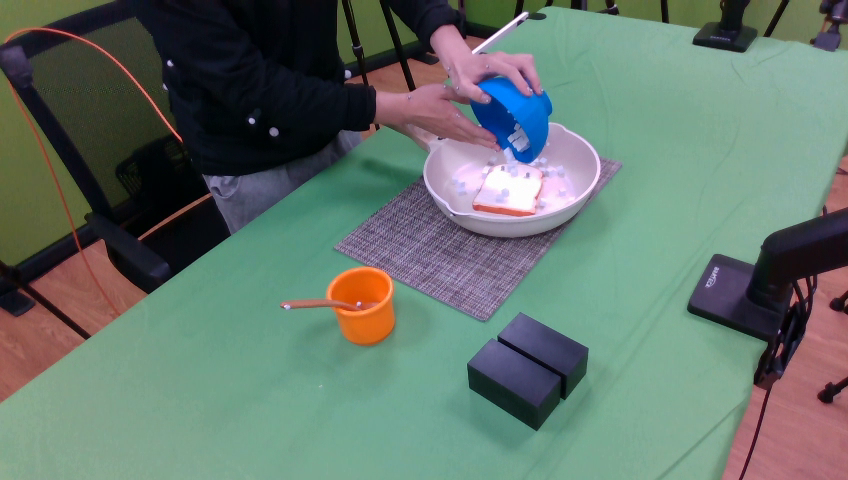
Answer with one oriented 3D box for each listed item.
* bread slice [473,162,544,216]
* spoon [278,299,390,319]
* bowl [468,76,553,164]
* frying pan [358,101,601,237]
[{"bbox_3d":[0.149,-0.089,1.041,0.106,0.018,0.134,7,44,16],"label":"bread slice"},{"bbox_3d":[-0.113,0.087,0.787,0.041,0.021,0.195,28,7,36],"label":"spoon"},{"bbox_3d":[0.147,-0.201,0.943,0.077,0.152,0.150,-42,48,-6],"label":"bowl"},{"bbox_3d":[0.067,-0.153,1.067,0.484,0.103,0.308,32,52,26],"label":"frying pan"}]
